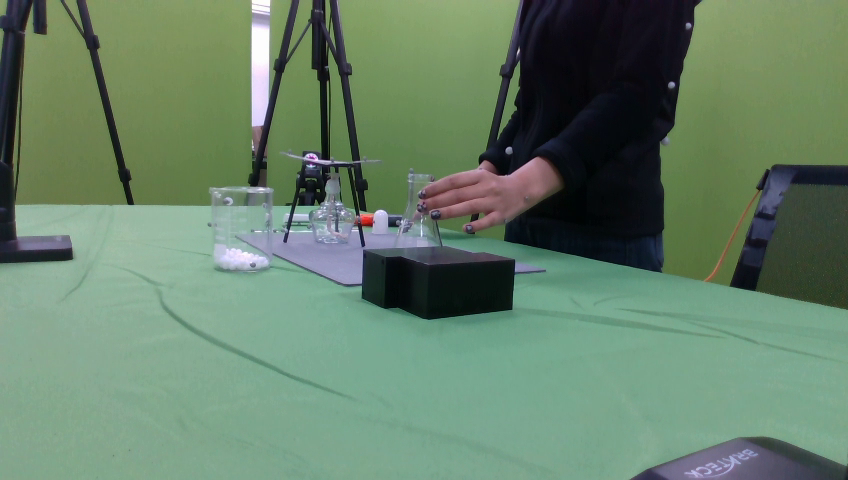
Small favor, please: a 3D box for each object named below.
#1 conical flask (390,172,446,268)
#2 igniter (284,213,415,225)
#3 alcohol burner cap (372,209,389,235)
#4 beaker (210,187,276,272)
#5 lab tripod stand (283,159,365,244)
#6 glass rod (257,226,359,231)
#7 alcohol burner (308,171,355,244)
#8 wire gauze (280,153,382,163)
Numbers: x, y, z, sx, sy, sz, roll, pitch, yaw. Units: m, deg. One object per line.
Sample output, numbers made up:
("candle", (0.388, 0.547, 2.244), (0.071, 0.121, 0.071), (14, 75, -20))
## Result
("conical flask", (-0.006, -0.027, 0.790), (0.075, 0.122, 0.075), (2, 7, 0))
("igniter", (-0.154, -0.045, 1.282), (0.278, 0.025, 0.057), (0, -3, -20))
("alcohol burner cap", (-0.082, -0.035, 1.143), (0.034, 0.048, 0.034), (2, 6, 0))
("beaker", (-0.224, -0.014, 0.738), (0.084, 0.100, 0.074), (4, 7, 16))
("lab tripod stand", (-0.151, -0.063, 0.983), (0.148, 0.131, 0.148), (4, 7, 0))
("glass rod", (-0.216, -0.022, 1.151), (0.201, 0.008, 0.008), (-2, 8, -28))
("alcohol burner", (-0.151, -0.054, 0.993), (0.078, 0.119, 0.078), (2, 6, 0))
("wire gauze", (-0.149, -0.129, 0.974), (0.124, 0.011, 0.122), (10, 10, 40))
